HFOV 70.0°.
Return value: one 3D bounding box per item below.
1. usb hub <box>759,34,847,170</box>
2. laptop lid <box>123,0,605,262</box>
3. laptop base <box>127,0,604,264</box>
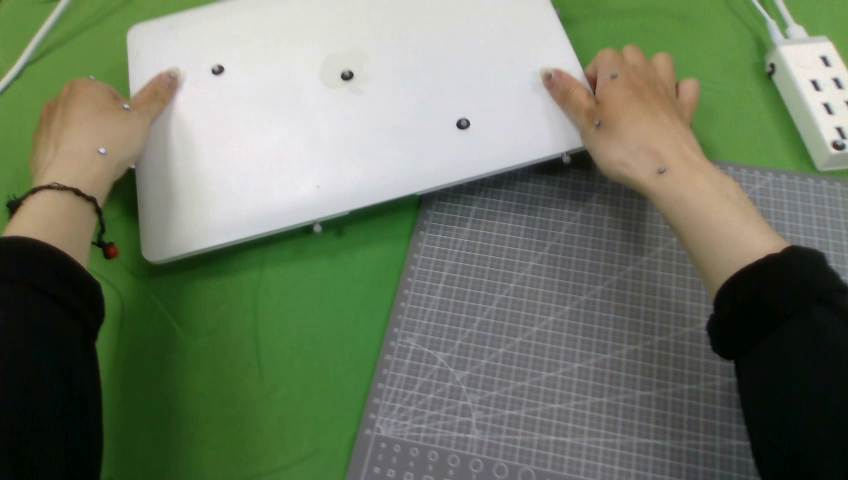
[{"bbox_3d":[0.321,-0.115,0.495,0.049,0.025,0.124,-6,60,-1],"label":"usb hub"},{"bbox_3d":[-0.062,-0.130,0.482,0.357,0.013,0.239,-14,67,-1],"label":"laptop lid"},{"bbox_3d":[-0.061,-0.127,0.495,0.354,0.023,0.233,-15,68,-2],"label":"laptop base"}]
